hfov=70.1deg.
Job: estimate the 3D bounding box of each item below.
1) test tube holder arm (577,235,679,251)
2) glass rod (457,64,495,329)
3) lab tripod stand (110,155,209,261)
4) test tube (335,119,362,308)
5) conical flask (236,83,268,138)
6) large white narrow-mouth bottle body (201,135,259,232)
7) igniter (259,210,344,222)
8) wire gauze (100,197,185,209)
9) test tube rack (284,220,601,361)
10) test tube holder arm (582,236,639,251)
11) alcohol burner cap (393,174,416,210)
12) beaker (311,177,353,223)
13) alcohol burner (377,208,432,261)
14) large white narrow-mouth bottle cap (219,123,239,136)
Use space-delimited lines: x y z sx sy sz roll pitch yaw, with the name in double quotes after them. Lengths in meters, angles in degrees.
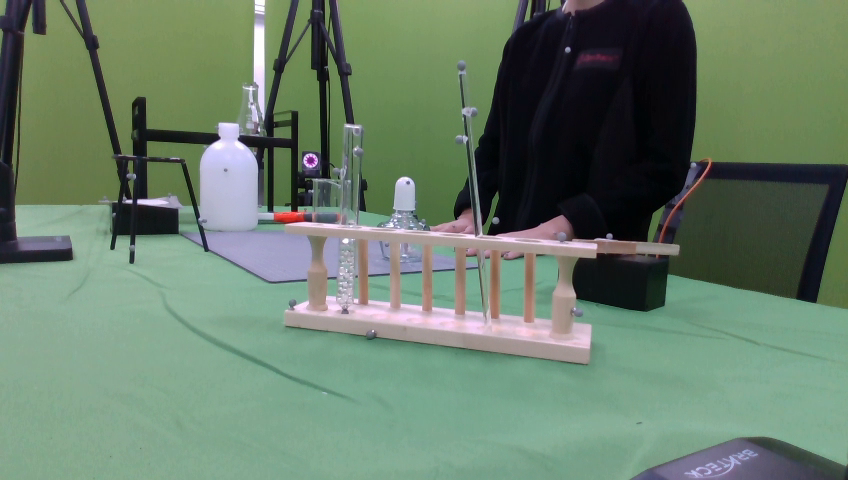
0.227 0.004 0.661 0.179 0.015 0.013 1 13 -39 "test tube holder arm"
0.039 -0.029 0.449 0.008 0.199 0.008 -7 9 1 "glass rod"
-0.361 -0.046 0.806 0.148 0.131 0.148 2 5 0 "lab tripod stand"
-0.060 -0.019 0.475 0.017 0.150 0.017 4 11 0 "test tube"
-0.400 -0.298 1.396 0.075 0.122 0.075 2 8 0 "conical flask"
-0.358 -0.116 1.116 0.102 0.194 0.102 2 8 0 "large white narrow-mouth bottle body"
-0.303 -0.049 1.258 0.278 0.025 0.057 -2 -2 -28 "igniter"
-0.469 -0.062 1.008 0.126 0.011 0.121 -2 8 -25 "wire gauze"
0.013 0.032 0.482 0.242 0.085 0.067 4 7 16 "test tube rack"
0.194 0.004 0.629 0.088 0.015 0.010 2 13 -38 "test tube holder arm"
-0.025 -0.067 0.833 0.034 0.048 0.034 4 12 -1 "alcohol burner cap"
-0.167 -0.064 1.106 0.074 0.100 0.083 -2 9 -27 "beaker"
-0.027 -0.031 0.838 0.078 0.119 0.078 0 6 0 "alcohol burner"
-0.356 -0.201 1.104 0.038 0.024 0.037 2 8 0 "large white narrow-mouth bottle cap"
